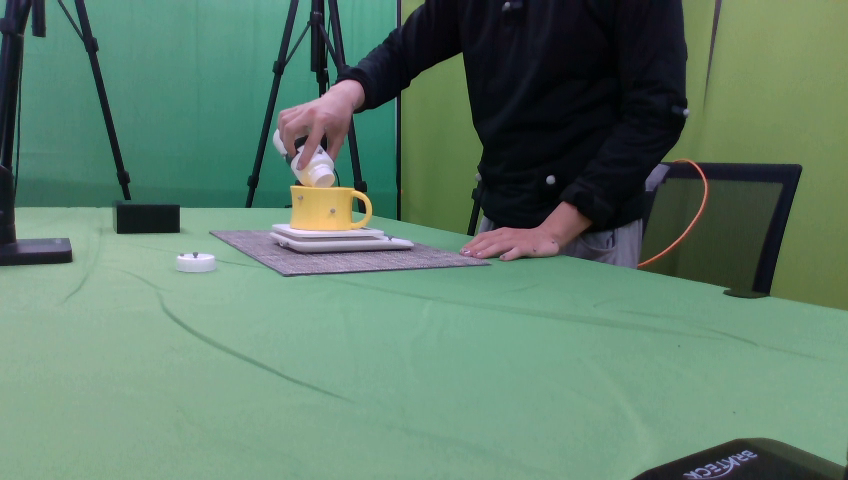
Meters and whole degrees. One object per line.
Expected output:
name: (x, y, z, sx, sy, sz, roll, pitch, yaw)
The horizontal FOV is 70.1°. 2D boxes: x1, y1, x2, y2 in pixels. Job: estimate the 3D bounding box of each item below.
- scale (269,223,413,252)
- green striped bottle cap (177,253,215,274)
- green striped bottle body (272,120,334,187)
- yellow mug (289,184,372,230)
scale: (-0.132, -0.007, 0.965, 0.202, 0.031, 0.148, -2, 8, -31)
green striped bottle cap: (-0.279, 0.028, 0.741, 0.044, 0.020, 0.044, 4, 6, 0)
green striped bottle body: (-0.194, -0.136, 0.990, 0.063, 0.063, 0.119, -6, 51, -50)
yellow mug: (-0.145, -0.052, 0.943, 0.131, 0.064, 0.100, 4, 7, 9)
